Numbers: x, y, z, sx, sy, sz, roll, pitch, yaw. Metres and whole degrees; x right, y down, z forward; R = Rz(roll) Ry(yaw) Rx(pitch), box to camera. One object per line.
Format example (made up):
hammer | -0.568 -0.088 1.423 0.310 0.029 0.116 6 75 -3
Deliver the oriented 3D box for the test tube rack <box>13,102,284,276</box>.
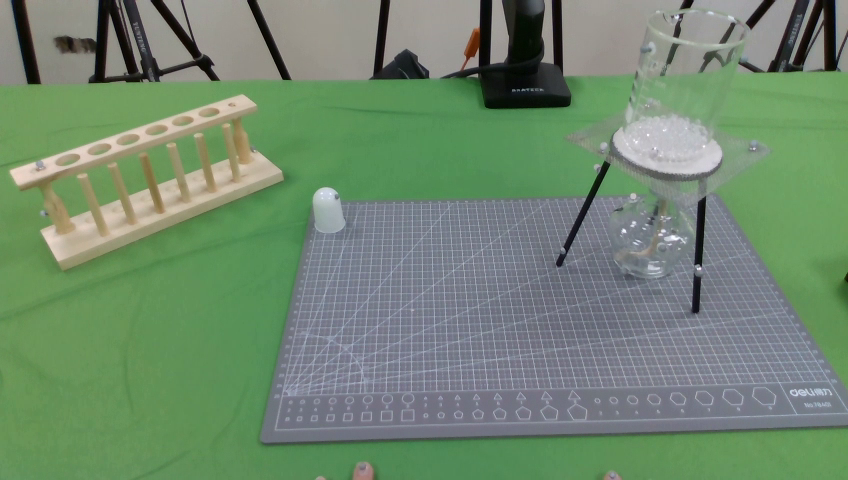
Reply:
test tube rack | -0.277 -0.061 0.641 0.242 0.086 0.066 -28 46 -29

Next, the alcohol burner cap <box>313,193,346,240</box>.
alcohol burner cap | -0.099 -0.027 0.626 0.034 0.048 0.033 0 40 0

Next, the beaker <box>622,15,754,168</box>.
beaker | 0.199 -0.116 0.476 0.074 0.101 0.083 -6 40 -7

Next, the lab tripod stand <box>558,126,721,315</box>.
lab tripod stand | 0.204 -0.022 0.541 0.148 0.132 0.147 1 39 -1

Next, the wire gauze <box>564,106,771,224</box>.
wire gauze | 0.199 -0.072 0.499 0.121 0.011 0.124 -27 50 -26

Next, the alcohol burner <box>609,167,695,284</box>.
alcohol burner | 0.211 -0.018 0.552 0.078 0.120 0.077 0 41 0
